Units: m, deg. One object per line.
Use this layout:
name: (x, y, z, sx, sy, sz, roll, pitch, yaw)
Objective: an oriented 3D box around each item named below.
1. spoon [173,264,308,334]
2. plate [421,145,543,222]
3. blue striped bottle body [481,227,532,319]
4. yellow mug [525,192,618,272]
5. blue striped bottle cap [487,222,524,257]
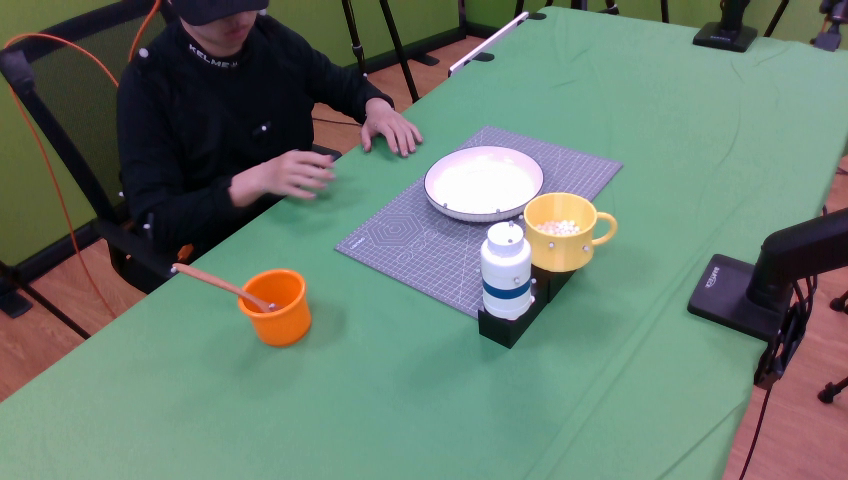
spoon: (-0.245, 0.077, 0.817, 0.021, 0.195, 0.041, -39, 29, 33)
plate: (0.101, -0.094, 1.048, 0.207, 0.039, 0.206, -4, 41, 4)
blue striped bottle body: (0.104, 0.037, 0.756, 0.063, 0.121, 0.063, -4, 40, 4)
yellow mug: (0.206, -0.014, 0.845, 0.131, 0.064, 0.099, -4, 41, 2)
blue striped bottle cap: (0.097, -0.001, 0.722, 0.044, 0.021, 0.044, -2, 39, 2)
